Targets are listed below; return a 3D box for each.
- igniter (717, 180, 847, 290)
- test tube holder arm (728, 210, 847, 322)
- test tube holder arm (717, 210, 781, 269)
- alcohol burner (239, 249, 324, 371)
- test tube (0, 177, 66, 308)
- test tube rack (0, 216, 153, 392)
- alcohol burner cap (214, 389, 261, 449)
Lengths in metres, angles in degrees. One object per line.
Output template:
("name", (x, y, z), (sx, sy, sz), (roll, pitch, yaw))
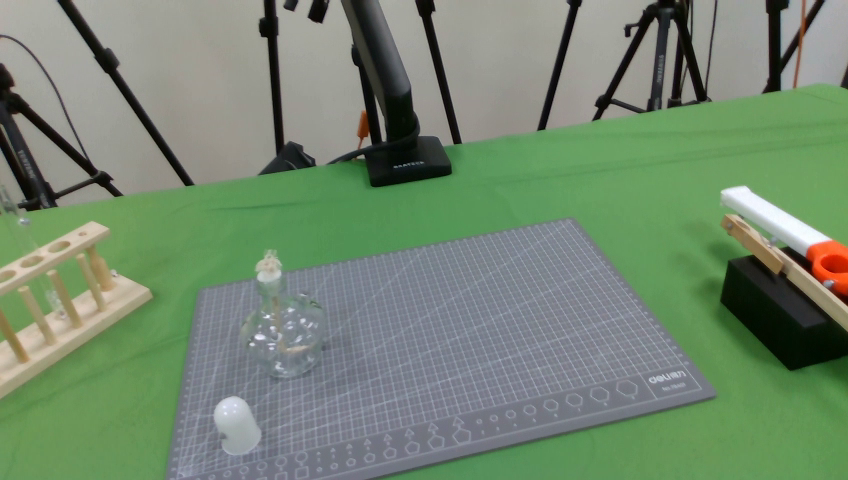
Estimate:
("igniter", (0.362, 0.009, 0.546), (0.057, 0.025, 0.273), (-12, 31, -7))
("test tube holder arm", (0.325, 0.021, 0.539), (0.013, 0.015, 0.176), (-6, 33, -12))
("test tube holder arm", (0.309, -0.002, 0.575), (0.010, 0.015, 0.087), (-6, 33, -11))
("alcohol burner", (-0.132, 0.060, 0.550), (0.078, 0.120, 0.077), (-4, 32, 3))
("test tube", (-0.395, 0.007, 0.610), (0.017, 0.151, 0.017), (-5, 32, 3))
("test tube rack", (-0.404, 0.076, 0.598), (0.066, 0.086, 0.242), (18, 40, 30))
("alcohol burner cap", (-0.155, 0.143, 0.495), (0.034, 0.048, 0.033), (-4, 34, 3))
